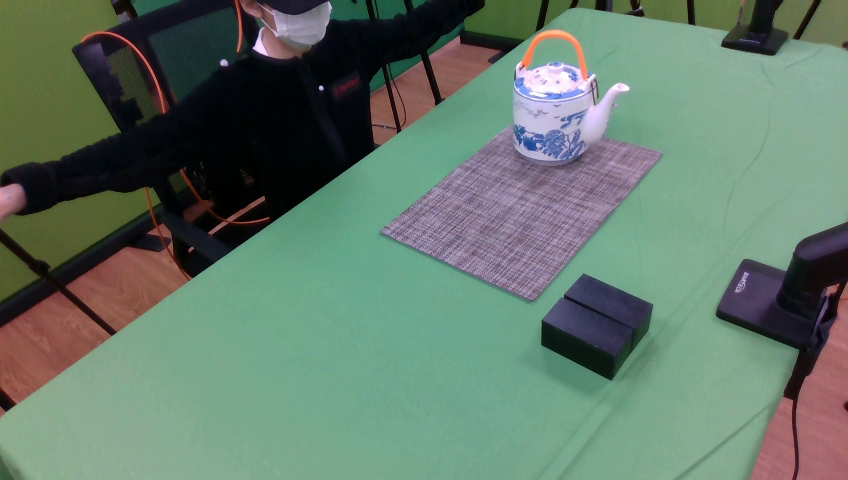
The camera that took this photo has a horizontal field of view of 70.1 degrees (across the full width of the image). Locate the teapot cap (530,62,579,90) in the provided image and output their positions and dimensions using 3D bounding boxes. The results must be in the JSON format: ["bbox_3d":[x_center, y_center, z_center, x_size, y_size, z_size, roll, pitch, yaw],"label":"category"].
[{"bbox_3d":[0.228,-0.286,1.054,0.085,0.044,0.085,-3,40,3],"label":"teapot cap"}]

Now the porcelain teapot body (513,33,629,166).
[{"bbox_3d":[0.256,-0.248,1.065,0.204,0.226,0.145,19,47,28],"label":"porcelain teapot body"}]
